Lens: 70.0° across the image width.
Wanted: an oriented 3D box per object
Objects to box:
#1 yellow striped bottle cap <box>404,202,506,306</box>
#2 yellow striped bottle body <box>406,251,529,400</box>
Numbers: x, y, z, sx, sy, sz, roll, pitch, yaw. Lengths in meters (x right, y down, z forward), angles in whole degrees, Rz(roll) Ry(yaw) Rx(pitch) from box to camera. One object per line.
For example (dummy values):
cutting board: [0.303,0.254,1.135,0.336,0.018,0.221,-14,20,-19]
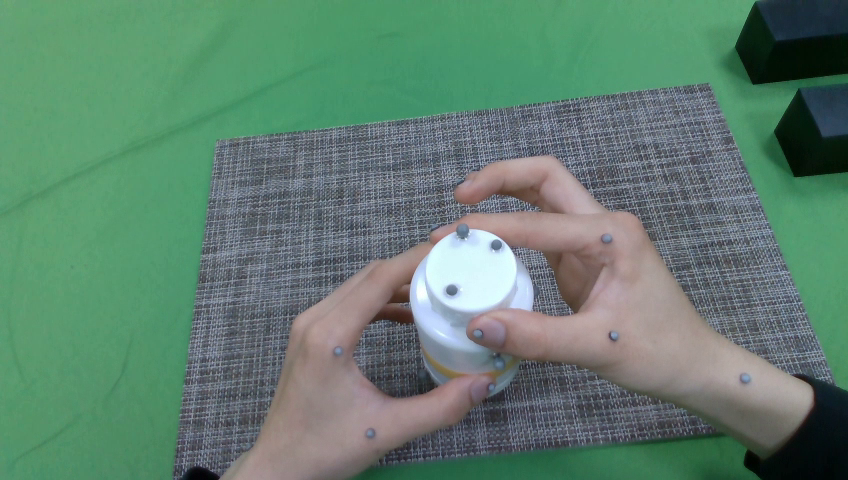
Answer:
yellow striped bottle cap: [0.014,0.006,0.267,0.044,0.019,0.044,-3,68,9]
yellow striped bottle body: [0.026,0.043,0.333,0.063,0.121,0.062,-3,61,6]
